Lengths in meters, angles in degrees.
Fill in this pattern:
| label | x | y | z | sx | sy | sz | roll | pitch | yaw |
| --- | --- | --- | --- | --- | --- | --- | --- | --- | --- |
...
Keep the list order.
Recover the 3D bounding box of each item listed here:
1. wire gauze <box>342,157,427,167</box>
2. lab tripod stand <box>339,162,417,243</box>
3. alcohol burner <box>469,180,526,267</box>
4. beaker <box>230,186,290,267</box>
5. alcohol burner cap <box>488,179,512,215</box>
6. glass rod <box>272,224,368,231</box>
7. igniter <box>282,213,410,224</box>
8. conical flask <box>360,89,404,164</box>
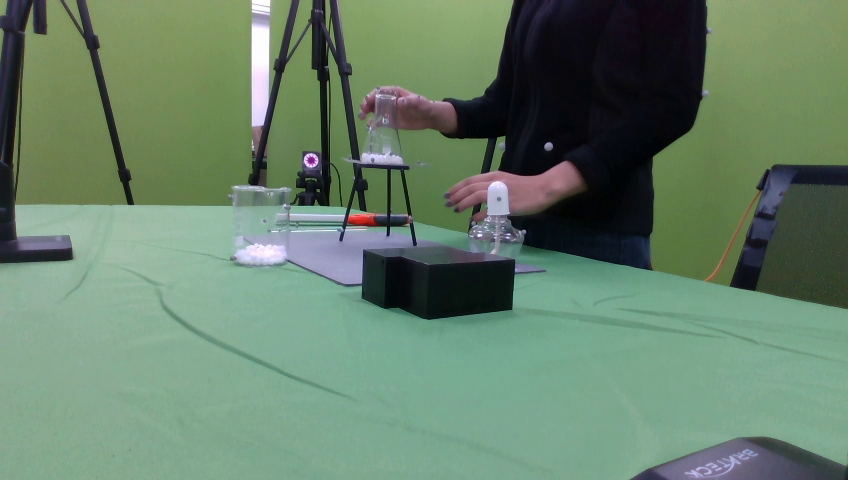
| label | x | y | z | sx | sy | sz | roll | pitch | yaw |
| --- | --- | --- | --- | --- | --- | --- | --- | --- | --- |
| wire gauze | -0.065 | -0.130 | 1.017 | 0.122 | 0.011 | 0.124 | 1 | 5 | -27 |
| lab tripod stand | -0.067 | -0.065 | 1.027 | 0.148 | 0.131 | 0.148 | 4 | 7 | 0 |
| alcohol burner | 0.101 | -0.022 | 0.822 | 0.078 | 0.119 | 0.078 | 4 | 8 | 0 |
| beaker | -0.209 | -0.019 | 0.778 | 0.074 | 0.100 | 0.084 | 3 | 6 | 4 |
| alcohol burner cap | 0.101 | -0.058 | 0.816 | 0.034 | 0.048 | 0.034 | -4 | 8 | 1 |
| glass rod | -0.197 | -0.024 | 1.170 | 0.201 | 0.008 | 0.008 | -3 | 9 | -34 |
| igniter | -0.159 | -0.046 | 1.287 | 0.278 | 0.025 | 0.057 | 0 | -3 | -21 |
| conical flask | -0.067 | -0.189 | 1.010 | 0.075 | 0.122 | 0.075 | 4 | 6 | 0 |
